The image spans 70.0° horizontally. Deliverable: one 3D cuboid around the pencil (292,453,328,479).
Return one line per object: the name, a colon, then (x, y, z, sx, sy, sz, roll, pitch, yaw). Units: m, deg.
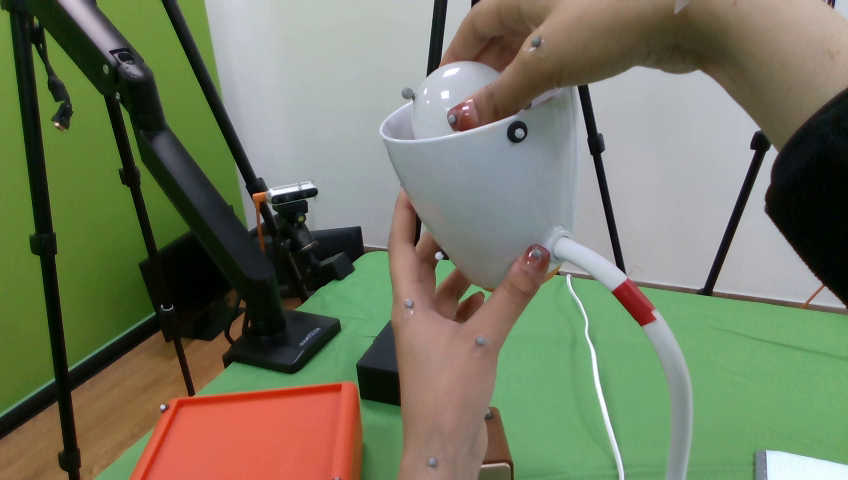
pencil: (-0.158, 0.250, 0.523, 0.194, 0.012, 0.012, -36, 37, -30)

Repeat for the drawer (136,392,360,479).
drawer: (-0.161, 0.234, 0.550, 0.194, 0.074, 0.210, -5, 23, -1)

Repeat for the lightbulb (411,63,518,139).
lightbulb: (0.031, -0.049, 0.350, 0.059, 0.108, 0.059, -17, 31, 11)

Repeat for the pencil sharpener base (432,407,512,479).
pencil sharpener base: (0.042, 0.211, 0.536, 0.061, 0.108, 0.076, -5, 24, -1)

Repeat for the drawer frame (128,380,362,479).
drawer frame: (-0.163, 0.232, 0.552, 0.202, 0.083, 0.212, -6, 23, -2)

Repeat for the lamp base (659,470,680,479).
lamp base: (0.154, 0.243, 0.355, 0.161, 0.181, 0.178, -7, 21, -5)

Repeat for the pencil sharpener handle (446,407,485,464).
pencil sharpener handle: (0.037, 0.180, 0.577, 0.036, 0.068, 0.030, 0, 24, -4)

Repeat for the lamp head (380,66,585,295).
lamp head: (0.046, -0.029, 0.357, 0.112, 0.124, 0.111, -18, 21, 8)
